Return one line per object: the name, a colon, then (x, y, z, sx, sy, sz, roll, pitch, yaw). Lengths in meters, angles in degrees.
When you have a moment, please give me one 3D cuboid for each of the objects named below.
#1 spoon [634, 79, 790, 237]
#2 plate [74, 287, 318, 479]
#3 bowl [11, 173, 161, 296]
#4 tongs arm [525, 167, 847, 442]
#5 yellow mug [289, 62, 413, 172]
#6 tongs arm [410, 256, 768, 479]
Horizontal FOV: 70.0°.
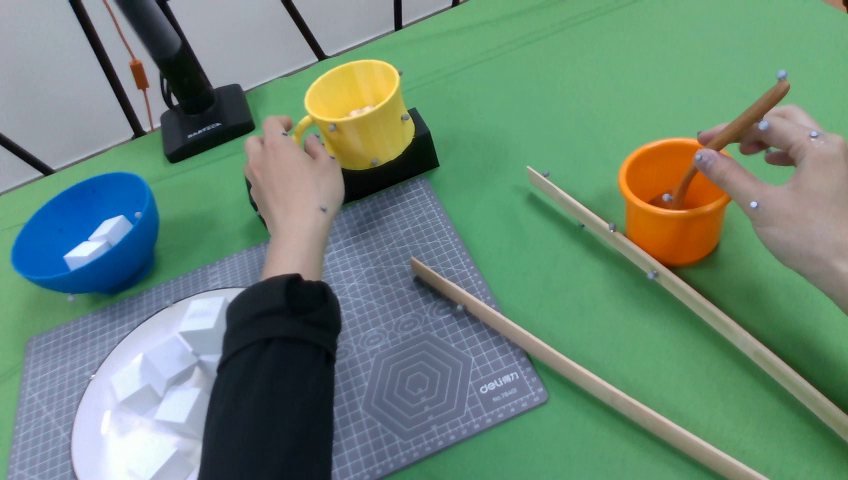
spoon: (0.205, -0.053, 0.453, 0.021, 0.195, 0.041, 14, 65, 2)
plate: (-0.186, 0.132, 0.513, 0.207, 0.039, 0.205, -9, 47, 10)
bowl: (-0.343, 0.007, 0.649, 0.151, 0.077, 0.150, -9, 47, 10)
tongs arm: (0.190, 0.052, 0.476, 0.051, 0.027, 0.380, -33, 50, -14)
yellow mug: (-0.080, -0.119, 0.621, 0.131, 0.064, 0.099, -35, 49, -14)
tongs arm: (0.129, 0.100, 0.454, 0.384, 0.028, 0.028, 29, 59, 34)
